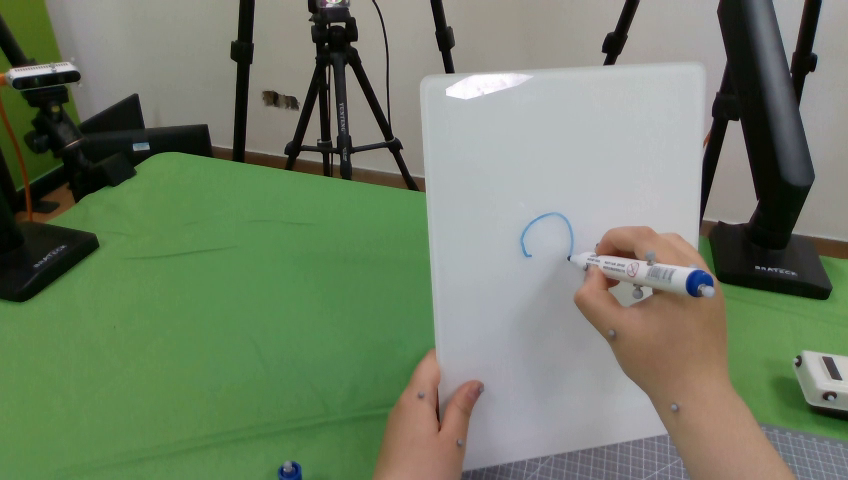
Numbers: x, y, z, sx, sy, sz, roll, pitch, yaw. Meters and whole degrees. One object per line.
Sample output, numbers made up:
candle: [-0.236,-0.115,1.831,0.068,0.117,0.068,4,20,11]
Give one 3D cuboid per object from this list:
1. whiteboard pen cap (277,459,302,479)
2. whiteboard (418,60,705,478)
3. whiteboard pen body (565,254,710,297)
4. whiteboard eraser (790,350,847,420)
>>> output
whiteboard pen cap: [-0.100,0.179,0.450,0.018,0.033,0.018,2,34,-1]
whiteboard: [0.097,0.013,0.522,0.218,0.306,0.143,-6,14,-10]
whiteboard pen body: [0.127,0.020,0.388,0.017,0.017,0.140,-10,6,-16]
whiteboard eraser: [0.392,0.134,0.536,0.112,0.042,0.055,9,36,9]
